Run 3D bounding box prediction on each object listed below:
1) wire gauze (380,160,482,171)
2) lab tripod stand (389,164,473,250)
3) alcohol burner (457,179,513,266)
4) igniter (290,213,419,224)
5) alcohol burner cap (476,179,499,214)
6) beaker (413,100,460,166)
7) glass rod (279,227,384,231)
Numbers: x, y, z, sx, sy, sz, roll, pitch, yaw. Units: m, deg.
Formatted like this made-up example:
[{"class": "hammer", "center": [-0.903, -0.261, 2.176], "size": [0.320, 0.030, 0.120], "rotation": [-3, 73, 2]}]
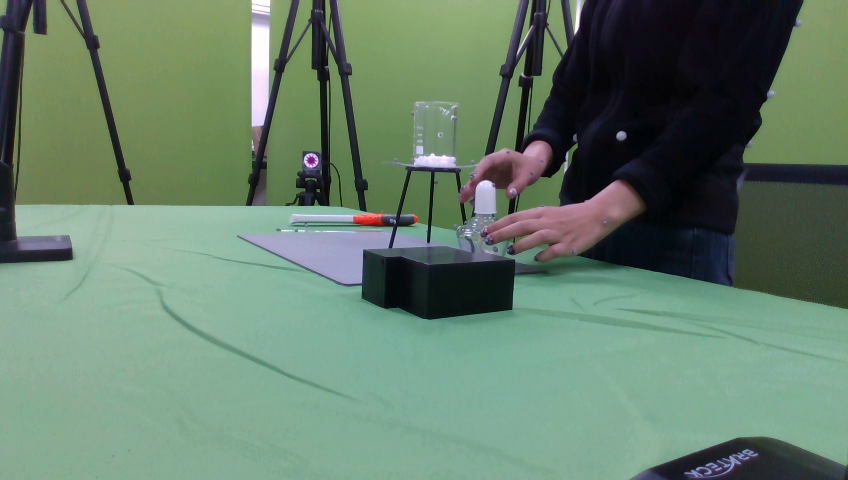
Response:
[{"class": "wire gauze", "center": [0.011, -0.119, 0.951], "size": [0.122, 0.011, 0.124], "rotation": [-5, 12, -32]}, {"class": "lab tripod stand", "center": [0.011, -0.054, 0.960], "size": [0.148, 0.131, 0.148], "rotation": [2, 9, 0]}, {"class": "alcohol burner", "center": [0.085, -0.025, 0.838], "size": [0.078, 0.119, 0.078], "rotation": [0, 8, 0]}, {"class": "igniter", "center": [-0.143, -0.046, 1.288], "size": [0.278, 0.025, 0.057], "rotation": [-1, -3, -24]}, {"class": "alcohol burner cap", "center": [0.087, -0.061, 0.834], "size": [0.034, 0.048, 0.034], "rotation": [-1, 12, 1]}, {"class": "beaker", "center": [0.020, -0.167, 0.953], "size": [0.073, 0.100, 0.084], "rotation": [5, 9, 26]}, {"class": "glass rod", "center": [-0.175, -0.021, 1.161], "size": [0.200, 0.008, 0.008], "rotation": [1, 7, -15]}]
